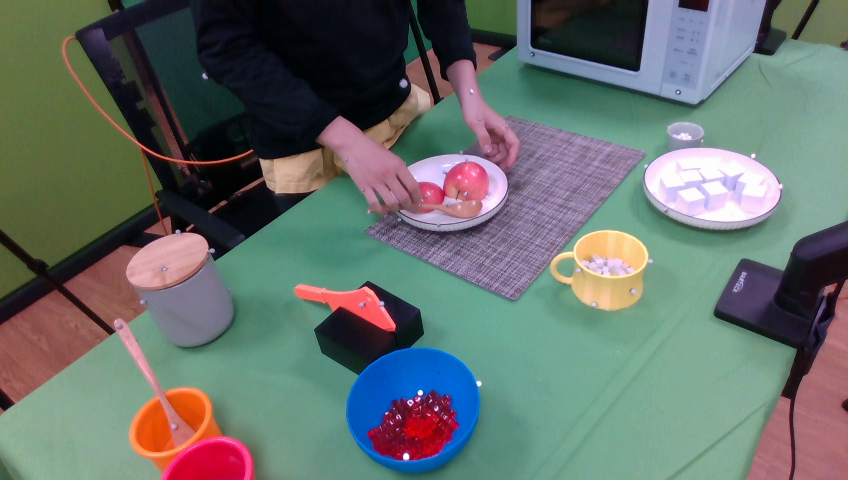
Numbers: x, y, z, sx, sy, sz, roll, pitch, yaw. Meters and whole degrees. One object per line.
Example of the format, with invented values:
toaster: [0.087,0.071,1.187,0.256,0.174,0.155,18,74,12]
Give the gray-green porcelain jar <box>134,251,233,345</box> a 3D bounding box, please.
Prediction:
gray-green porcelain jar: [-0.334,0.076,0.849,0.106,0.127,0.105,-4,41,4]

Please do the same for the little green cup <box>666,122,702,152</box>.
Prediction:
little green cup: [0.471,-0.184,1.102,0.061,0.039,0.061,-5,41,5]

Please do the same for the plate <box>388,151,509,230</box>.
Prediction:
plate: [0.044,-0.082,1.043,0.209,0.038,0.208,-4,40,4]

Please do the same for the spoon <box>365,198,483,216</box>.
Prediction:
spoon: [0.001,-0.057,0.998,0.194,0.022,0.041,1,48,-8]

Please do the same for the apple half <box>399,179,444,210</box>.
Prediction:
apple half: [-0.003,-0.088,1.045,0.081,0.033,0.081,-2,42,2]

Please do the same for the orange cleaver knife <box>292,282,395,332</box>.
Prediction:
orange cleaver knife: [-0.116,0.091,0.835,0.209,0.077,0.012,2,32,48]

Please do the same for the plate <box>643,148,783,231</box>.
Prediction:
plate: [0.464,-0.080,0.986,0.207,0.039,0.206,-4,41,4]

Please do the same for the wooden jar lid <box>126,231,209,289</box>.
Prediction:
wooden jar lid: [-0.340,0.030,0.809,0.108,0.021,0.108,-5,39,5]

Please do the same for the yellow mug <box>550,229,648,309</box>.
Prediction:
yellow mug: [0.245,0.040,0.856,0.130,0.064,0.099,1,42,11]

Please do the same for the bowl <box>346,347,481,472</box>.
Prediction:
bowl: [-0.008,0.205,0.691,0.151,0.077,0.150,-4,40,4]

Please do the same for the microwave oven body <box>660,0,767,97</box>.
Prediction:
microwave oven body: [0.473,-0.517,1.314,0.438,0.261,0.327,26,51,34]

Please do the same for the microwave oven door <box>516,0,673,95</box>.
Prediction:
microwave oven door: [0.344,-0.458,1.257,0.353,0.245,0.039,26,51,33]

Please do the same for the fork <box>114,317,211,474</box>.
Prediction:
fork: [-0.309,0.179,0.707,0.028,0.018,0.207,-30,89,-23]

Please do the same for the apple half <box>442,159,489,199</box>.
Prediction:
apple half: [0.074,-0.110,1.047,0.080,0.053,0.075,21,46,30]

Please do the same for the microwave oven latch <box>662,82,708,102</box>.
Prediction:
microwave oven latch: [0.517,-0.298,1.203,0.078,0.029,0.030,28,52,35]
